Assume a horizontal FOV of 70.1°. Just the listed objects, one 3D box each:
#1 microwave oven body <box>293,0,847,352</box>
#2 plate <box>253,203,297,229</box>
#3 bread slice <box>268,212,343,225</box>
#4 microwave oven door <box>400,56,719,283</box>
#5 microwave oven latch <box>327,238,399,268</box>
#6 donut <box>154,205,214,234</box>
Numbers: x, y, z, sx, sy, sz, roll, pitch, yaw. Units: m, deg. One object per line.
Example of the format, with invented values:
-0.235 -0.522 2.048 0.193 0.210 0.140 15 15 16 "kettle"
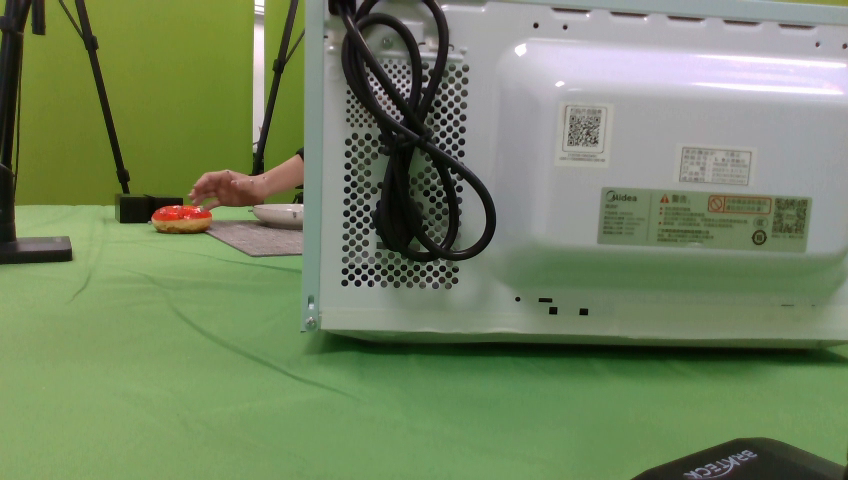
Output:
0.122 -0.055 0.550 0.442 0.260 0.325 3 7 -5 "microwave oven body"
-0.238 -0.047 1.226 0.208 0.039 0.207 3 7 0 "plate"
-0.244 -0.046 1.220 0.104 0.019 0.132 7 8 36 "bread slice"
0.155 -0.077 0.697 0.356 0.243 0.039 2 8 -5 "microwave oven door"
-0.069 0.015 0.694 0.079 0.029 0.030 3 7 -3 "microwave oven latch"
-0.426 -0.037 1.075 0.099 0.048 0.099 2 12 0 "donut"
